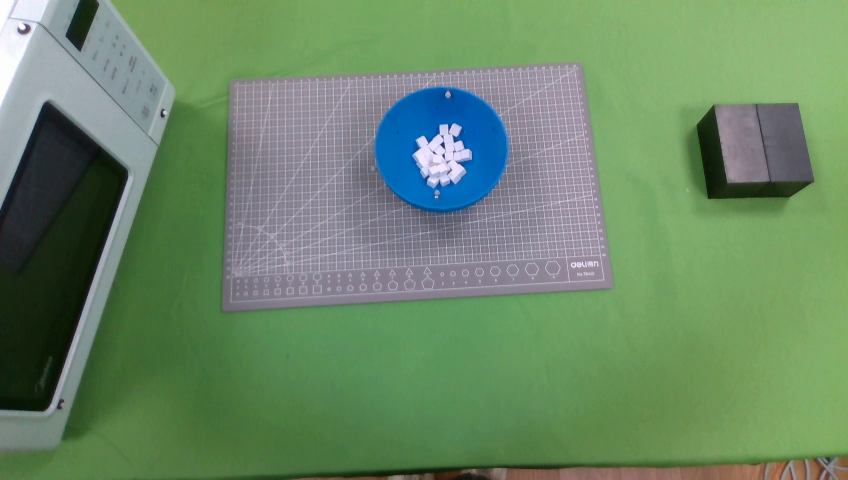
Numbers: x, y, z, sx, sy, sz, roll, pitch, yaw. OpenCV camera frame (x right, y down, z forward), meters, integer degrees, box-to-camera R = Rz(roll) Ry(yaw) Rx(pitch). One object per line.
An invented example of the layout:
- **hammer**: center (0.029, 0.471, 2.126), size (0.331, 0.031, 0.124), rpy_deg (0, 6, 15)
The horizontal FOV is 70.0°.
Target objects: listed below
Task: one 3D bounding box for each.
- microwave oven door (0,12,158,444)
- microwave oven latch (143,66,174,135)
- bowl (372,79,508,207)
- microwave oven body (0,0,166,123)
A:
- **microwave oven door**: center (-0.369, 0.009, 0.570), size (0.039, 0.245, 0.354), rpy_deg (10, 74, 4)
- **microwave oven latch**: center (-0.325, -0.169, 0.726), size (0.030, 0.029, 0.079), rpy_deg (12, 75, 3)
- **bowl**: center (0.018, -0.100, 0.702), size (0.151, 0.077, 0.150), rpy_deg (0, 74, 0)
- **microwave oven body**: center (-0.504, -0.055, 0.593), size (0.326, 0.261, 0.439), rpy_deg (10, 75, 2)
